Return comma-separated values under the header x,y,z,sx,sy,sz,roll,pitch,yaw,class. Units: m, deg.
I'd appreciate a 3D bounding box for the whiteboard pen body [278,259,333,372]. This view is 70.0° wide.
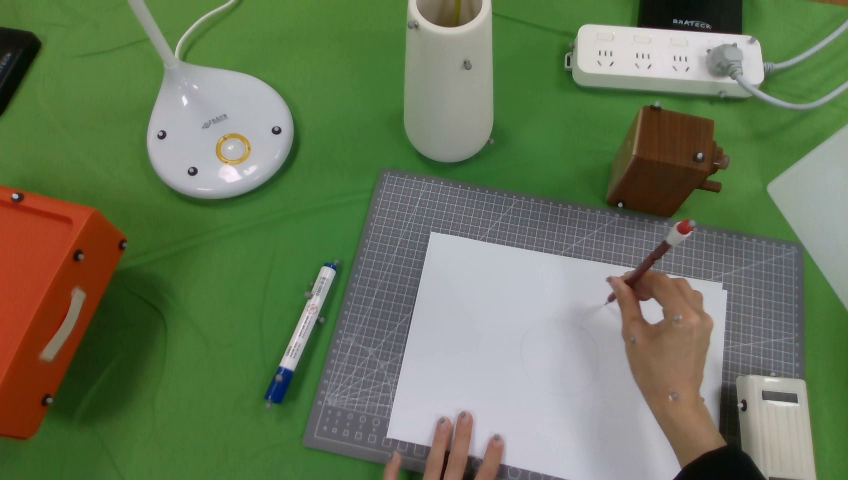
x,y,z,sx,sy,sz,roll,pitch,yaw,class
-0.119,0.082,0.593,0.017,0.017,0.140,15,65,8,whiteboard pen body

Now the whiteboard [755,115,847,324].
x,y,z,sx,sy,sz,roll,pitch,yaw,class
0.502,-0.055,0.520,0.144,0.307,0.215,-12,66,-24,whiteboard

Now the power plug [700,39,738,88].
x,y,z,sx,sy,sz,roll,pitch,yaw,class
0.320,-0.188,0.665,0.035,0.053,0.072,15,70,8,power plug

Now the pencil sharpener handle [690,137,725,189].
x,y,z,sx,sy,sz,roll,pitch,yaw,class
0.281,-0.072,0.591,0.030,0.068,0.036,13,67,6,pencil sharpener handle

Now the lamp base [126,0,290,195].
x,y,z,sx,sy,sz,roll,pitch,yaw,class
-0.241,-0.160,0.608,0.160,0.181,0.178,-42,70,-15,lamp base

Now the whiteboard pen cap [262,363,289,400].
x,y,z,sx,sy,sz,roll,pitch,yaw,class
-0.139,0.132,0.569,0.018,0.018,0.033,16,63,8,whiteboard pen cap

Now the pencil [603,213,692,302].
x,y,z,sx,sy,sz,roll,pitch,yaw,class
0.181,0.023,0.514,0.012,0.195,0.012,1,67,-1,pencil

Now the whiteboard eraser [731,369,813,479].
x,y,z,sx,sy,sz,roll,pitch,yaw,class
0.306,0.173,0.537,0.055,0.042,0.112,6,68,2,whiteboard eraser

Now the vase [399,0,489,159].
x,y,z,sx,sy,sz,roll,pitch,yaw,class
0.019,-0.164,0.596,0.098,0.201,0.097,-1,67,2,vase

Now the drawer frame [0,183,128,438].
x,y,z,sx,sy,sz,roll,pitch,yaw,class
-0.416,0.046,0.536,0.213,0.083,0.200,14,70,4,drawer frame

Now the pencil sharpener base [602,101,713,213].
x,y,z,sx,sy,sz,roll,pitch,yaw,class
0.232,-0.079,0.608,0.076,0.108,0.061,13,68,6,pencil sharpener base

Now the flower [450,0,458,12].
x,y,z,sx,sy,sz,roll,pitch,yaw,class
0.027,-0.211,0.526,0.038,0.364,0.043,-1,49,-7,flower

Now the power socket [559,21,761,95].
x,y,z,sx,sy,sz,roll,pitch,yaw,class
0.273,-0.210,0.700,0.227,0.033,0.071,5,69,3,power socket

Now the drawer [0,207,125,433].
x,y,z,sx,sy,sz,roll,pitch,yaw,class
-0.410,0.045,0.533,0.211,0.074,0.193,14,70,6,drawer
